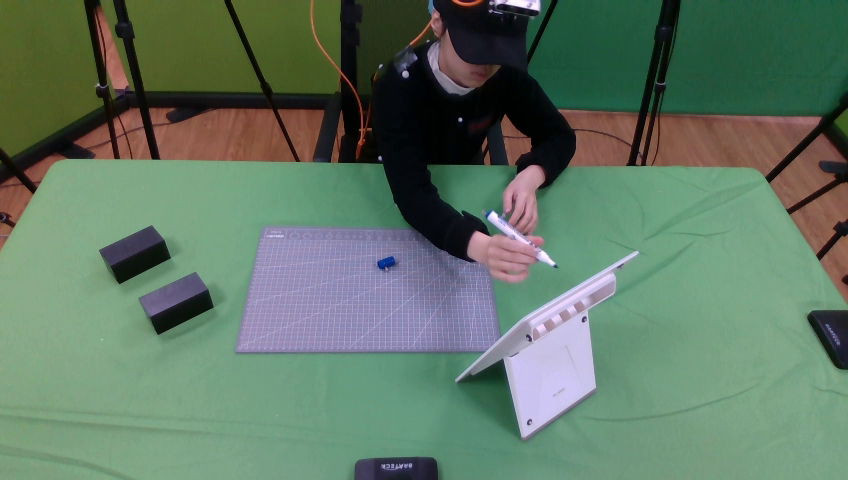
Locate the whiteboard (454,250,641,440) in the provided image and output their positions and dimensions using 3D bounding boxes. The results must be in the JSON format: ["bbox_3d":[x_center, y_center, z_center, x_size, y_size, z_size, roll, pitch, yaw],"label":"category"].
[{"bbox_3d":[0.206,0.175,0.890,0.217,0.306,0.143,-24,72,-25],"label":"whiteboard"}]

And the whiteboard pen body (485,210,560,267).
[{"bbox_3d":[0.155,-0.001,0.945,0.140,0.017,0.017,38,53,7],"label":"whiteboard pen body"}]

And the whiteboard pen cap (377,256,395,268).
[{"bbox_3d":[-0.073,0.042,1.149,0.033,0.018,0.018,-19,51,-15],"label":"whiteboard pen cap"}]
